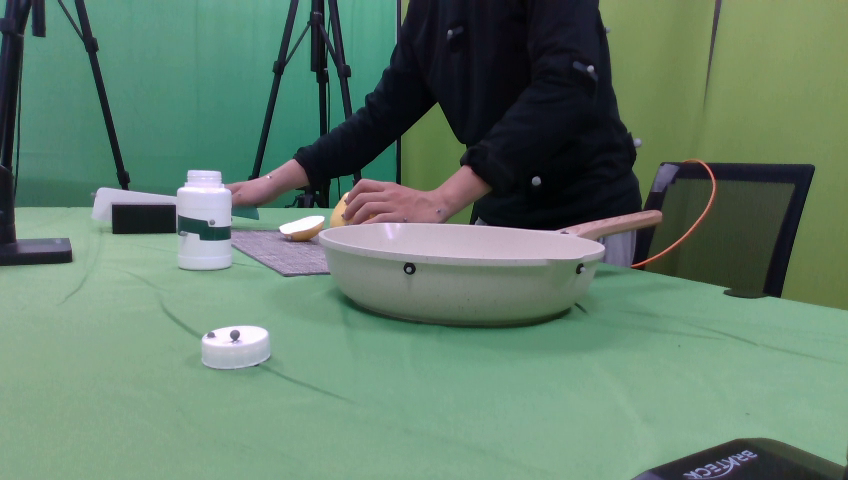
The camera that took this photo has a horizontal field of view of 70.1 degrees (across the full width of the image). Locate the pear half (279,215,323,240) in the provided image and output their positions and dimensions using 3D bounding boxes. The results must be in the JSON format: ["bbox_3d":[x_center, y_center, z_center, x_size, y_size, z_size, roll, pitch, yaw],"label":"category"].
[{"bbox_3d":[-0.206,-0.017,1.018,0.087,0.031,0.070,-7,17,36],"label":"pear half"}]

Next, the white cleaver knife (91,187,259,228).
[{"bbox_3d":[-0.450,-0.054,1.117,0.288,0.066,0.021,4,11,-28],"label":"white cleaver knife"}]

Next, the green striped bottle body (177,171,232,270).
[{"bbox_3d":[-0.273,-0.026,0.752,0.063,0.119,0.063,2,7,0],"label":"green striped bottle body"}]

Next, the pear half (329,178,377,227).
[{"bbox_3d":[-0.105,-0.042,0.945,0.077,0.110,0.055,-11,15,-42],"label":"pear half"}]

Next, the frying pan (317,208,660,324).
[{"bbox_3d":[0.121,0.006,0.691,0.490,0.102,0.305,-13,15,-33],"label":"frying pan"}]

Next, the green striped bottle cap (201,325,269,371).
[{"bbox_3d":[-0.129,0.073,0.415,0.044,0.020,0.044,3,8,0],"label":"green striped bottle cap"}]
